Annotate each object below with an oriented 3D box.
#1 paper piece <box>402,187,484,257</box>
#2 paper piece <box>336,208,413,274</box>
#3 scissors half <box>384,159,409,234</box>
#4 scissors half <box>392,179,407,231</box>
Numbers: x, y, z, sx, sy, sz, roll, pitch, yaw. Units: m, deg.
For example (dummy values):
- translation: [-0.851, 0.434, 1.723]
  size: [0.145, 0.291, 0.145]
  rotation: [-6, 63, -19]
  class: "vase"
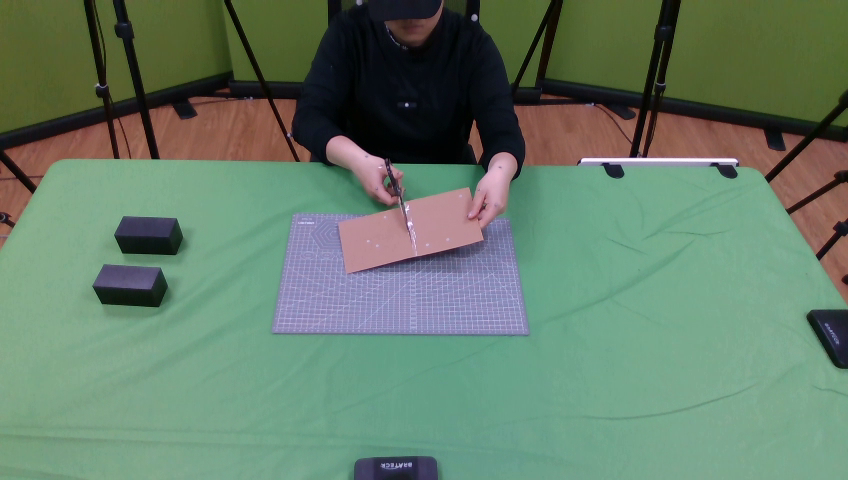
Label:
- translation: [0.034, -0.037, 1.171]
  size: [0.138, 0.009, 0.135]
  rotation: [-11, 61, 0]
  class: "paper piece"
- translation: [-0.098, -0.002, 1.175]
  size: [0.135, 0.004, 0.135]
  rotation: [-14, 50, -2]
  class: "paper piece"
- translation: [-0.055, -0.089, 1.212]
  size: [0.013, 0.040, 0.174]
  rotation: [-19, 70, 3]
  class: "scissors half"
- translation: [-0.052, -0.078, 1.230]
  size: [0.013, 0.040, 0.174]
  rotation: [-16, 48, -1]
  class: "scissors half"
